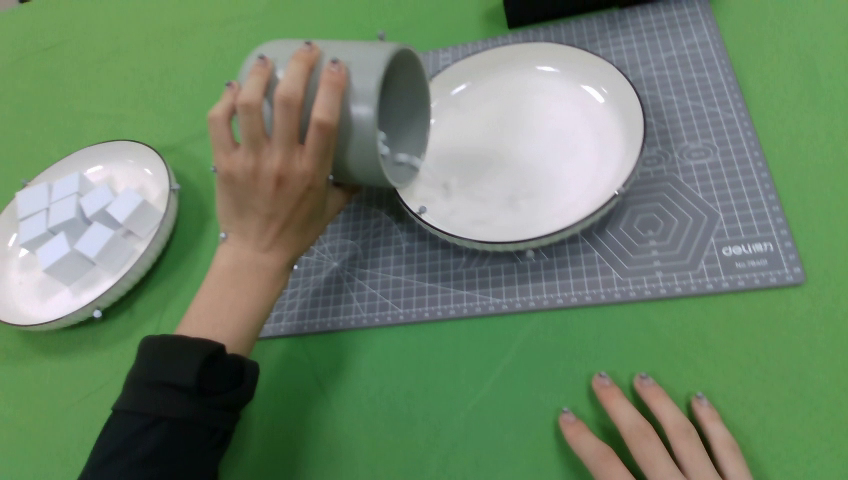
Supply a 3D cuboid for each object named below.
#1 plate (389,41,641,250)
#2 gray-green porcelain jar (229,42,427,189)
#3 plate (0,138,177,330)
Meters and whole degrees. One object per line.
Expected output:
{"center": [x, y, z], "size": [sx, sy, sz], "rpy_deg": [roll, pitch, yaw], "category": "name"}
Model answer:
{"center": [0.069, -0.078, 0.499], "size": [0.209, 0.038, 0.207], "rpy_deg": [-8, 57, 13], "category": "plate"}
{"center": [-0.074, -0.098, 0.468], "size": [0.126, 0.107, 0.105], "rpy_deg": [8, 62, 20], "category": "gray-green porcelain jar"}
{"center": [-0.327, -0.007, 0.582], "size": [0.207, 0.039, 0.205], "rpy_deg": [-8, 57, 13], "category": "plate"}
